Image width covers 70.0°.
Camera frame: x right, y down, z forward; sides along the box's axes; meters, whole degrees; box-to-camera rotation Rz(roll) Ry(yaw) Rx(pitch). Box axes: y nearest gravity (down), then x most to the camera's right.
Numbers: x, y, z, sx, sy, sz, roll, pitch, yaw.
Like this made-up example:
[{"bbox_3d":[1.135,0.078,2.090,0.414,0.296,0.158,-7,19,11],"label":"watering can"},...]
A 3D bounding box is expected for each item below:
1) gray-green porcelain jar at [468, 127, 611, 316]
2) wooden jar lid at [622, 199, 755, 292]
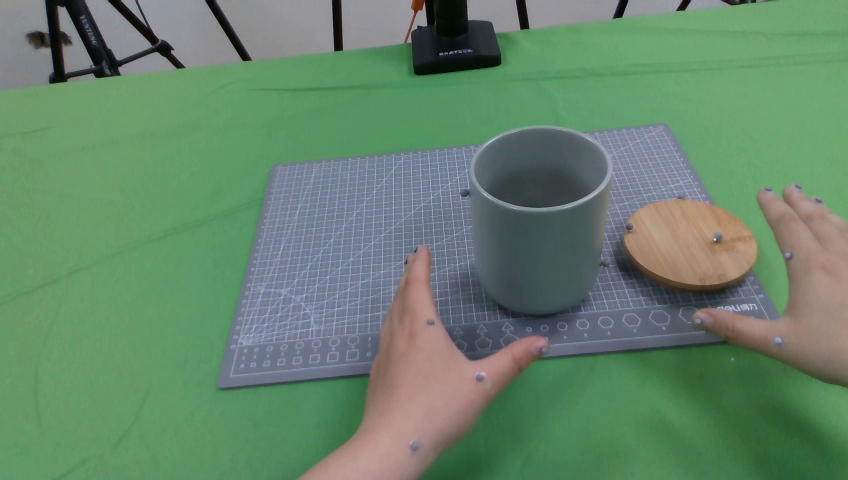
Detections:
[{"bbox_3d":[0.091,-0.010,0.489,0.106,0.128,0.105,-4,44,4],"label":"gray-green porcelain jar"},{"bbox_3d":[0.229,0.006,0.531,0.108,0.021,0.107,-4,43,4],"label":"wooden jar lid"}]
